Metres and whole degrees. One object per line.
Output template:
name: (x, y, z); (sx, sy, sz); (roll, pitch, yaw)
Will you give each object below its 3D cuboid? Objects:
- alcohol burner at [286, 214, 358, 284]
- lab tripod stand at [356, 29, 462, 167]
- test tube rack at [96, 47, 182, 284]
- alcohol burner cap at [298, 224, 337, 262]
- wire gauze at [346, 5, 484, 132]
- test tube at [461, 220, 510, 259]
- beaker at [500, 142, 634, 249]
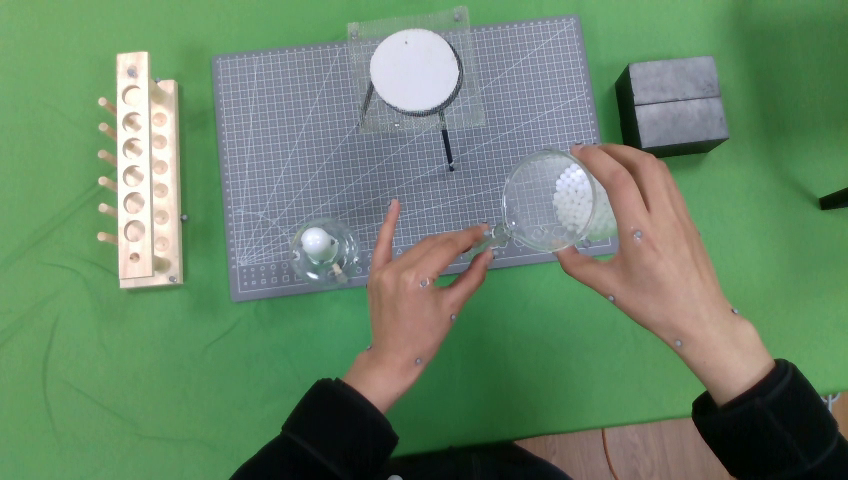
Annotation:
alcohol burner: (-0.109, 0.007, 0.641); (0.078, 0.119, 0.077); (0, 80, -3)
lab tripod stand: (-0.008, -0.160, 0.659); (0.148, 0.132, 0.147); (0, 79, 0)
test tube rack: (-0.318, -0.077, 0.666); (0.067, 0.085, 0.241); (-5, 82, -1)
alcohol burner cap: (-0.109, 0.001, 0.606); (0.034, 0.048, 0.033); (-1, 75, 4)
wire gauze: (-0.010, -0.166, 0.592); (0.125, 0.011, 0.121); (-6, 82, -2)
test tube: (0.052, 0.002, 0.539); (0.017, 0.150, 0.017); (1, 82, -6)
beaker: (0.114, -0.032, 0.475); (0.084, 0.101, 0.073); (-36, 73, 34)
